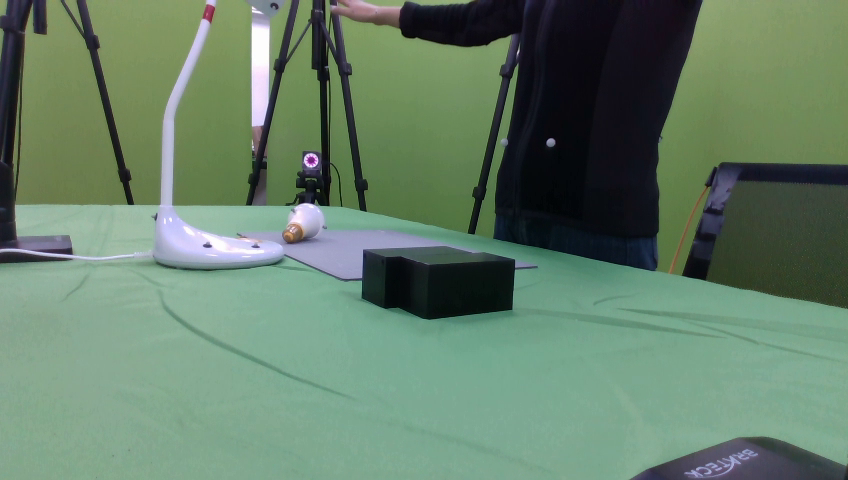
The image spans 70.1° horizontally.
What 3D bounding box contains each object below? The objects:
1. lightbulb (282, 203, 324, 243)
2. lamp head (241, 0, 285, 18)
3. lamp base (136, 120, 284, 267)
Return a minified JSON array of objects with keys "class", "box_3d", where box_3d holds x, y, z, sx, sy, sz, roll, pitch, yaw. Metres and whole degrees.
[{"class":"lightbulb","box_3d":[-0.202,-0.023,0.993,0.059,0.059,0.108,3,23,12]},{"class":"lamp head","box_3d":[-0.233,-0.366,0.790,0.123,0.112,0.112,15,-1,-33]},{"class":"lamp base","box_3d":[-0.272,-0.061,0.769,0.180,0.180,0.160,-7,11,-37]}]
